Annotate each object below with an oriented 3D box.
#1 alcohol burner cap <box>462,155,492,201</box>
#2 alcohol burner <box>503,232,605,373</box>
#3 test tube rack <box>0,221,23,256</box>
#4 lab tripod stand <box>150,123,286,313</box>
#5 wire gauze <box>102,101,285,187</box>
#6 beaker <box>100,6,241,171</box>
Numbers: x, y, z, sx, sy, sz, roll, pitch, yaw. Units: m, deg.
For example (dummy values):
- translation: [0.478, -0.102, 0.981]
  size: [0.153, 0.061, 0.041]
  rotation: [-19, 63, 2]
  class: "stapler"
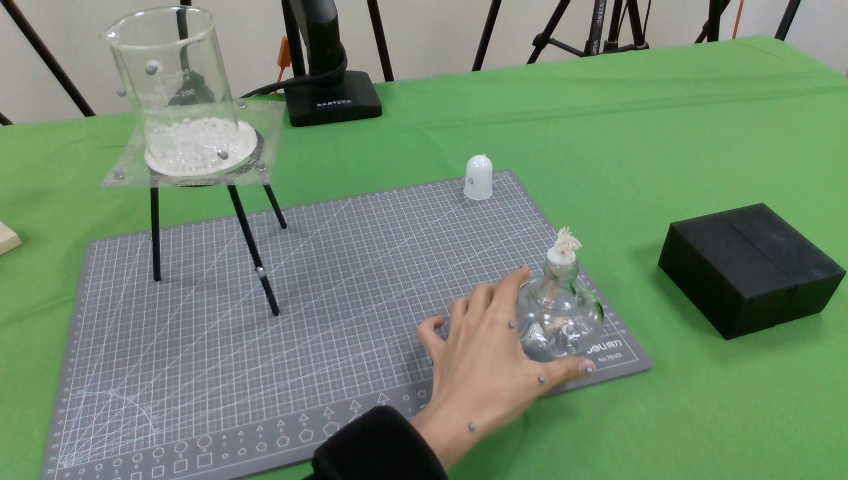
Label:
- translation: [0.058, -0.069, 0.648]
  size: [0.034, 0.048, 0.033]
  rotation: [0, 40, 0]
  class: "alcohol burner cap"
- translation: [0.100, 0.044, 0.458]
  size: [0.078, 0.120, 0.077]
  rotation: [0, 38, 1]
  class: "alcohol burner"
- translation: [-0.495, 0.021, 0.513]
  size: [0.066, 0.086, 0.242]
  rotation: [26, 47, 28]
  class: "test tube rack"
- translation: [-0.173, -0.021, 0.521]
  size: [0.148, 0.132, 0.147]
  rotation: [-1, 42, 1]
  class: "lab tripod stand"
- translation: [-0.178, -0.077, 0.485]
  size: [0.125, 0.011, 0.120]
  rotation: [-5, 39, 0]
  class: "wire gauze"
- translation: [-0.182, -0.109, 0.447]
  size: [0.084, 0.101, 0.073]
  rotation: [1, 41, 2]
  class: "beaker"
